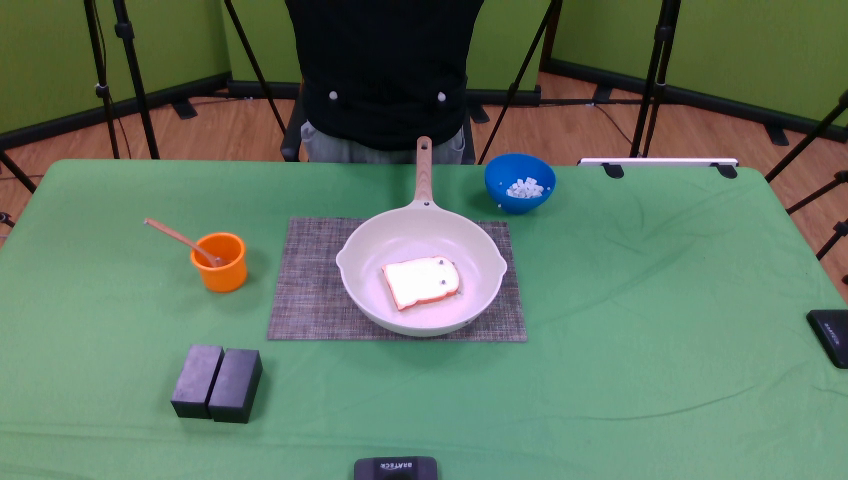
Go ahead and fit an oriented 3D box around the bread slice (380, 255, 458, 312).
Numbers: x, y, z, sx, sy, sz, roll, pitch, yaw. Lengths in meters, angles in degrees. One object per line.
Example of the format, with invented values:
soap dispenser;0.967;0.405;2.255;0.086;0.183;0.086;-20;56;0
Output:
bread slice;-0.005;0.074;1.119;0.134;0.018;0.106;-16;50;-16

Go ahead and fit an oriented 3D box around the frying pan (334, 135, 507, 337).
frying pan;-0.004;-0.026;1.160;0.307;0.103;0.485;4;55;-2

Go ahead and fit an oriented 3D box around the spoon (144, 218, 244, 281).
spoon;-0.401;0.015;1.065;0.195;0.021;0.041;41;37;-29

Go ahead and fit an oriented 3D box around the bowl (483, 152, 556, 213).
bowl;0.196;-0.110;1.280;0.151;0.077;0.150;2;46;-2
